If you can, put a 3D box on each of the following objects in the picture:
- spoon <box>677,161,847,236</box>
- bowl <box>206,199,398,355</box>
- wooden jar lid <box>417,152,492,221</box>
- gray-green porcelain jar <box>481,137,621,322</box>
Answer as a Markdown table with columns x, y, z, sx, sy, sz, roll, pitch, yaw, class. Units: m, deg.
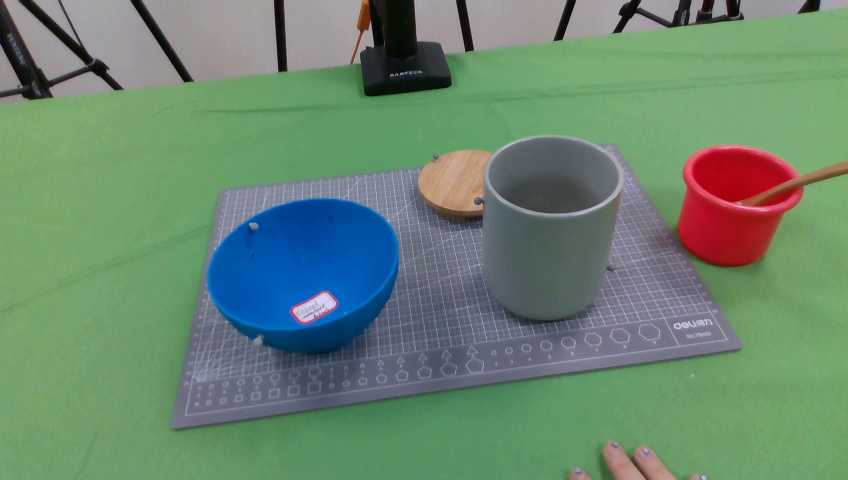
| x | y | z | sx | sy | sz | roll | pitch | yaw | class |
| --- | --- | --- | --- | --- | --- | --- | --- | --- | --- |
| 0.309 | -0.041 | 0.516 | 0.022 | 0.193 | 0.041 | 48 | 47 | -12 | spoon |
| -0.093 | 0.042 | 0.502 | 0.151 | 0.077 | 0.150 | -2 | 43 | 2 | bowl |
| 0.046 | -0.056 | 0.641 | 0.108 | 0.021 | 0.107 | -3 | 41 | 3 | wooden jar lid |
| 0.100 | -0.004 | 0.500 | 0.106 | 0.128 | 0.105 | -2 | 43 | 3 | gray-green porcelain jar |
